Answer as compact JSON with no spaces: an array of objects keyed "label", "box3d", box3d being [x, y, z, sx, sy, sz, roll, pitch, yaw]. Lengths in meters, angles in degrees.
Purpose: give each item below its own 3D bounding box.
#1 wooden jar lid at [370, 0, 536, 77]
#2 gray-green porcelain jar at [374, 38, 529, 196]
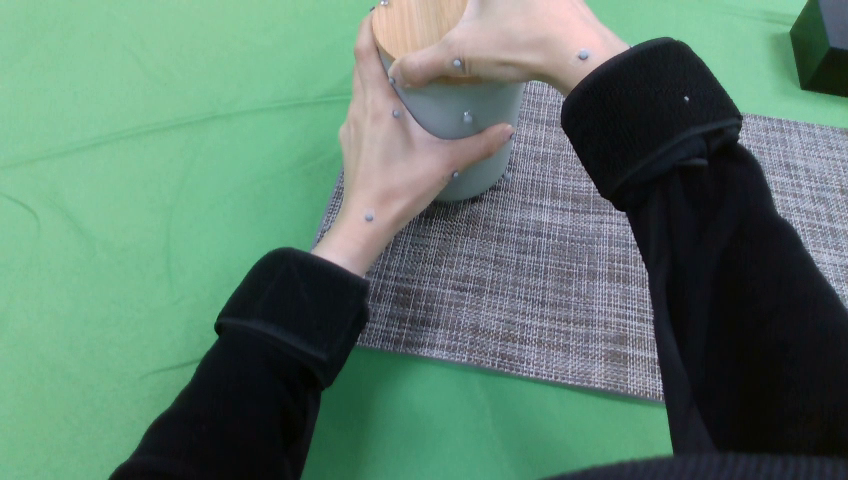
[{"label":"wooden jar lid","box3d":[0.019,-0.141,0.400,0.108,0.021,0.107,0,56,0]},{"label":"gray-green porcelain jar","box3d":[0.017,-0.104,0.451,0.106,0.127,0.105,1,54,-2]}]
